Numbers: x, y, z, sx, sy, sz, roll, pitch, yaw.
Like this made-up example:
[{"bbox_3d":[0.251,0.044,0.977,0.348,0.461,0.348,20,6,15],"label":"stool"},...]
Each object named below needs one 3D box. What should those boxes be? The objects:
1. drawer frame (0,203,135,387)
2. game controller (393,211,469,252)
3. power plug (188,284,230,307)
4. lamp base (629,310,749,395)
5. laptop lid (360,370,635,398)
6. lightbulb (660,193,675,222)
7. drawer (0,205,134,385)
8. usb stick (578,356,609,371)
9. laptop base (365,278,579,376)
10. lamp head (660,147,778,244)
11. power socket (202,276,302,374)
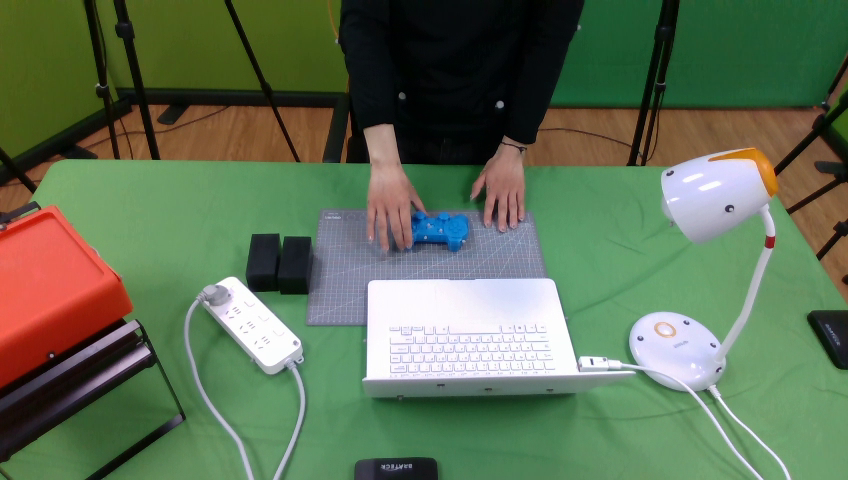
[{"bbox_3d":[-0.536,0.073,0.798,0.200,0.083,0.213,36,54,26],"label":"drawer frame"},{"bbox_3d":[0.014,-0.027,1.204,0.155,0.052,0.096,2,51,-2],"label":"game controller"},{"bbox_3d":[-0.368,0.100,1.036,0.072,0.053,0.035,-26,53,-24],"label":"power plug"},{"bbox_3d":[0.447,0.142,0.984,0.161,0.181,0.178,-24,55,-24],"label":"lamp base"},{"bbox_3d":[0.090,0.208,0.863,0.357,0.242,0.013,0,70,-6],"label":"laptop lid"},{"bbox_3d":[0.366,-0.060,0.806,0.060,0.107,0.059,17,61,-32],"label":"lightbulb"},{"bbox_3d":[-0.533,0.071,0.802,0.193,0.073,0.211,37,55,26],"label":"drawer"},{"bbox_3d":[0.274,0.207,1.007,0.059,0.027,0.021,0,52,0],"label":"usb stick"},{"bbox_3d":[0.076,0.162,1.053,0.355,0.023,0.234,0,44,-4],"label":"laptop base"},{"bbox_3d":[0.389,-0.063,0.784,0.123,0.113,0.112,-21,33,37],"label":"lamp head"},{"bbox_3d":[-0.296,0.142,1.034,0.072,0.033,0.225,-34,58,-31],"label":"power socket"}]
